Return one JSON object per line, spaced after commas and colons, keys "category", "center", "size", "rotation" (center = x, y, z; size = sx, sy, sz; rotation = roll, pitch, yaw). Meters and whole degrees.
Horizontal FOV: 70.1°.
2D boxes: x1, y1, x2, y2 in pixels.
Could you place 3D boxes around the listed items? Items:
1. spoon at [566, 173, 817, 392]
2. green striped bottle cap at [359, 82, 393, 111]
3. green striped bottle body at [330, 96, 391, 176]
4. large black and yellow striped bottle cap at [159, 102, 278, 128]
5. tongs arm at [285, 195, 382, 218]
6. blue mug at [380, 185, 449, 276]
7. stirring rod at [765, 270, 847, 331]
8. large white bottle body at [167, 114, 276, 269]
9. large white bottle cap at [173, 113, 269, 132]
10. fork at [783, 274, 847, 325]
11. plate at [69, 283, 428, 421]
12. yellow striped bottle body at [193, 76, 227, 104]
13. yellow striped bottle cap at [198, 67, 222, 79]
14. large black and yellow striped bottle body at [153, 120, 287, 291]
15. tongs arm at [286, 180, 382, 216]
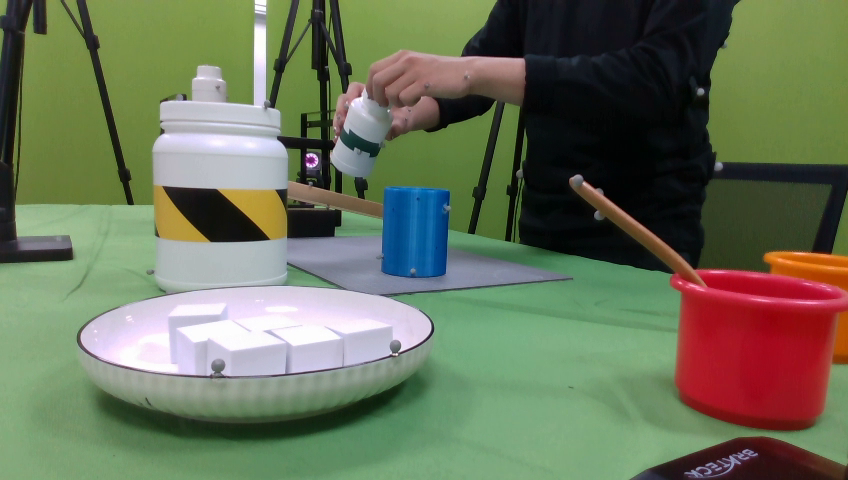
{"category": "spoon", "center": [0.161, 0.024, 0.370], "size": [0.193, 0.021, 0.042], "rotation": [47, 18, 3]}
{"category": "green striped bottle cap", "center": [-0.065, -0.197, 0.829], "size": [0.044, 0.020, 0.044], "rotation": [25, 29, -14]}
{"category": "green striped bottle body", "center": [-0.087, -0.156, 0.859], "size": [0.063, 0.119, 0.063], "rotation": [18, 35, -13]}
{"category": "large black and yellow striped bottle cap", "center": [-0.207, -0.125, 0.615], "size": [0.115, 0.019, 0.115], "rotation": [2, 6, 0]}
{"category": "tongs arm", "center": [-0.165, -0.074, 1.216], "size": [0.389, 0.027, 0.028], "rotation": [11, -6, -24]}
{"category": "blue mug", "center": [-0.019, -0.016, 0.764], "size": [0.083, 0.106, 0.116], "rotation": [-1, 8, -25]}
{"category": "stirring rod", "center": [0.352, 0.020, 0.484], "size": [0.176, 0.006, 0.014], "rotation": [-40, -7, 12]}
{"category": "large white bottle body", "center": [-0.256, -0.063, 0.772], "size": [0.131, 0.184, 0.130], "rotation": [2, 7, 0]}
{"category": "large white bottle cap", "center": [-0.254, -0.146, 0.760], "size": [0.115, 0.018, 0.115], "rotation": [1, 7, 0]}
{"category": "fork", "center": [0.332, 0.018, 0.443], "size": [0.028, 0.018, 0.207], "rotation": [-1, -36, -15]}
{"category": "plate", "center": [-0.102, 0.066, 0.381], "size": [0.208, 0.039, 0.207], "rotation": [2, 7, 0]}
{"category": "yellow striped bottle body", "center": [-0.414, -0.268, 1.169], "size": [0.063, 0.120, 0.063], "rotation": [2, 7, 0]}
{"category": "yellow striped bottle cap", "center": [-0.411, -0.320, 1.162], "size": [0.044, 0.018, 0.044], "rotation": [0, 5, 0]}
{"category": "large black and yellow striped bottle body", "center": [-0.208, -0.043, 0.626], "size": [0.131, 0.184, 0.130], "rotation": [2, 7, 0]}
{"category": "tongs arm", "center": [-0.122, -0.066, 1.147], "size": [0.387, 0.026, 0.050], "rotation": [11, -2, -37]}
